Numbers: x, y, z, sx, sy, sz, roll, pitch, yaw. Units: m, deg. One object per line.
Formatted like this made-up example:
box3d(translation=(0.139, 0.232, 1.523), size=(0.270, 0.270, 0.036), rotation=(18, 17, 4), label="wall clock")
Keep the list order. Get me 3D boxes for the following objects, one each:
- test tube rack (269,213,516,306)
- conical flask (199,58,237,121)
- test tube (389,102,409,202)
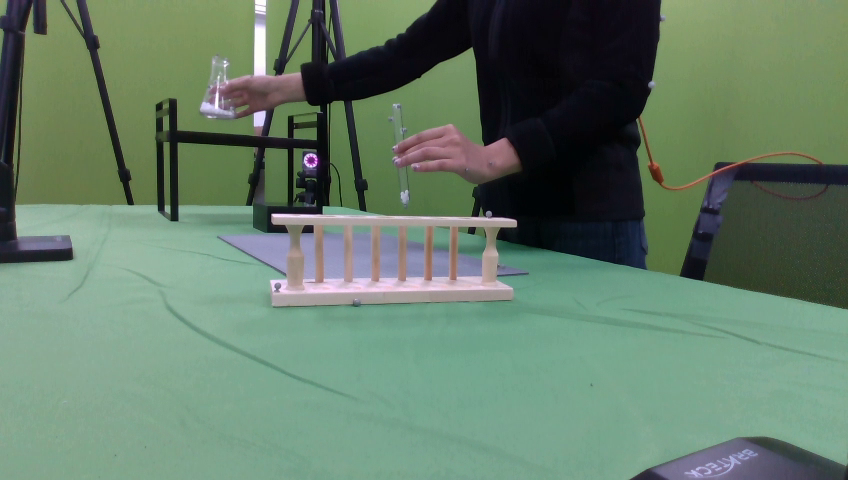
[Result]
box3d(translation=(-0.032, 0.015, 0.617), size=(0.243, 0.085, 0.066), rotation=(0, 7, -17), label="test tube rack")
box3d(translation=(-0.429, -0.315, 1.265), size=(0.075, 0.122, 0.075), rotation=(3, 2, 0), label="conical flask")
box3d(translation=(-0.037, -0.132, 0.909), size=(0.017, 0.150, 0.017), rotation=(-6, 4, 1), label="test tube")
